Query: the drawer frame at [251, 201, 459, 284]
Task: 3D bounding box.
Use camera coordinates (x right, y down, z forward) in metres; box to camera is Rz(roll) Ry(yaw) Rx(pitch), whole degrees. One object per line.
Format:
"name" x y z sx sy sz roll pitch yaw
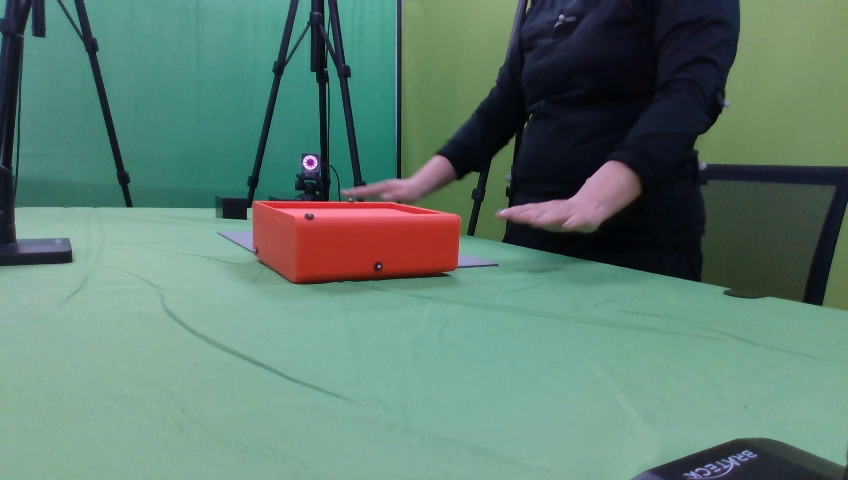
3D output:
"drawer frame" -0.095 -0.005 0.789 0.215 0.082 0.200 -3 10 -30

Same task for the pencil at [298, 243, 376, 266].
"pencil" -0.107 0.016 0.791 0.012 0.012 0.195 6 8 22

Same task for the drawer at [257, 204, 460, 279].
"drawer" -0.091 -0.004 0.793 0.213 0.073 0.193 -3 10 -29
